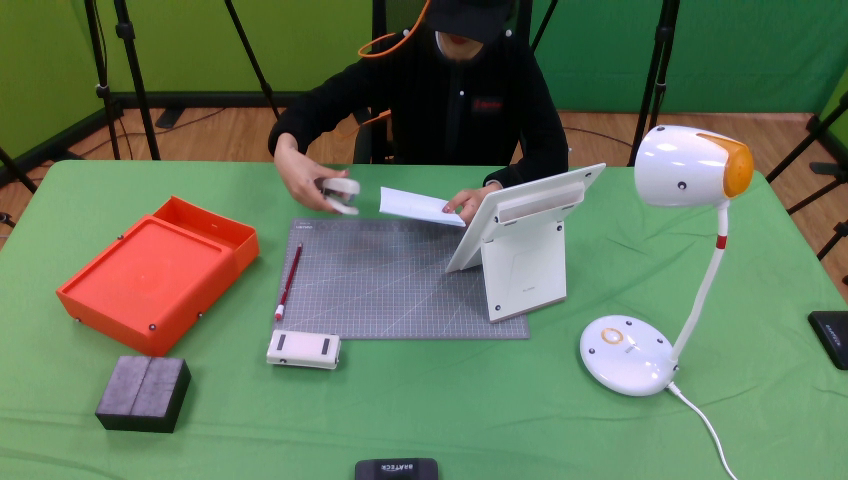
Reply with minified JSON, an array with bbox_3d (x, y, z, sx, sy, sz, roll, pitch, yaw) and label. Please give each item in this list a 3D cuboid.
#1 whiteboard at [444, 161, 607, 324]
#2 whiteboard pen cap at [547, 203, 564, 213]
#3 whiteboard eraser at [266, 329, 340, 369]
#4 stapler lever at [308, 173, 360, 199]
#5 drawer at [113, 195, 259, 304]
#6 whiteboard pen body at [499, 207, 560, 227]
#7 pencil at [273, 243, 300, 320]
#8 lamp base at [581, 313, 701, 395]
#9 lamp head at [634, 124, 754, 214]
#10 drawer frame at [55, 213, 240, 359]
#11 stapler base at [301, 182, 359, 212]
[{"bbox_3d":[0.186,0.025,1.029,0.217,0.306,0.143,-15,68,-18],"label":"whiteboard"},{"bbox_3d":[0.277,-0.066,1.275,0.033,0.018,0.018,-18,50,-15],"label":"whiteboard pen cap"},{"bbox_3d":[-0.198,0.181,0.994,0.113,0.042,0.055,5,45,1],"label":"whiteboard eraser"},{"bbox_3d":[-0.168,-0.110,1.138,0.117,0.040,0.027,24,12,32],"label":"stapler lever"},{"bbox_3d":[-0.442,0.032,1.092,0.194,0.073,0.211,21,48,15],"label":"drawer"},{"bbox_3d":[0.222,-0.051,1.260,0.141,0.017,0.017,-15,49,-16],"label":"whiteboard pen body"},{"bbox_3d":[-0.249,0.071,1.115,0.012,0.012,0.193,5,43,1],"label":"pencil"},{"bbox_3d":[0.361,0.144,0.973,0.178,0.181,0.160,34,53,23],"label":"lamp base"},{"bbox_3d":[0.351,-0.089,0.776,0.112,0.113,0.122,-30,30,-28],"label":"lamp head"},{"bbox_3d":[-0.469,0.072,1.050,0.201,0.083,0.213,21,49,14],"label":"drawer frame"},{"bbox_3d":[-0.174,-0.085,1.144,0.130,0.024,0.041,25,12,32],"label":"stapler base"}]
